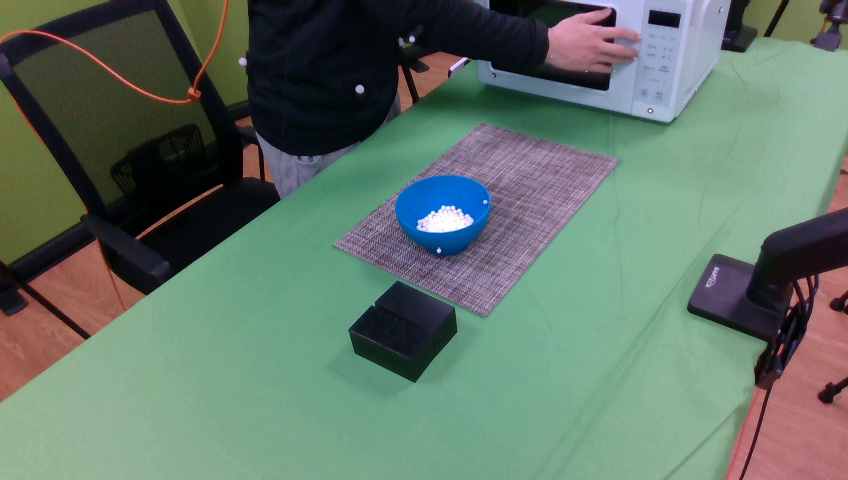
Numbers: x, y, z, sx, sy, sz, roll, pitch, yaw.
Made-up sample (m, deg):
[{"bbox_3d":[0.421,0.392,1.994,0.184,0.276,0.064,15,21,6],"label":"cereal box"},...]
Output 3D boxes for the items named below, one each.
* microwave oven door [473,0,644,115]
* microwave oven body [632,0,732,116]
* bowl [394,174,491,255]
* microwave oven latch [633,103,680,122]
[{"bbox_3d":[0.257,-0.396,1.199,0.353,0.245,0.039,21,48,29],"label":"microwave oven door"},{"bbox_3d":[0.377,-0.462,1.267,0.438,0.261,0.327,21,48,30],"label":"microwave oven body"},{"bbox_3d":[0.032,-0.030,0.949,0.151,0.077,0.150,-4,40,4],"label":"bowl"},{"bbox_3d":[0.443,-0.249,1.157,0.078,0.029,0.030,21,49,30],"label":"microwave oven latch"}]
